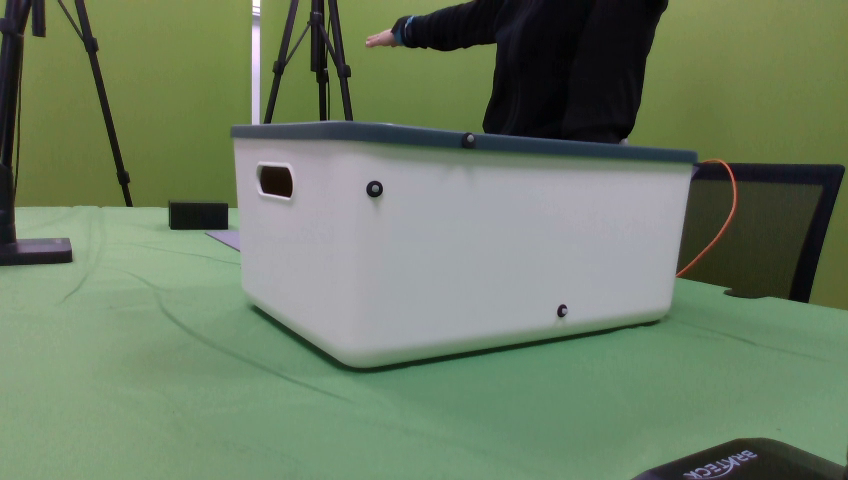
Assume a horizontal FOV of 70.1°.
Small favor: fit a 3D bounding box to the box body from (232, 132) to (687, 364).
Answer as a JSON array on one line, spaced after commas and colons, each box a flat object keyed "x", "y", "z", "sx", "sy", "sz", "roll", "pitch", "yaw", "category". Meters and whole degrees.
[{"x": 0.031, "y": -0.013, "z": 0.563, "sx": 0.366, "sy": 0.160, "sz": 0.253, "roll": -3, "pitch": 8, "yaw": -33, "category": "box body"}]

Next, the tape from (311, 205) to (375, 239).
[{"x": -0.145, "y": -0.034, "z": 1.097, "sx": 0.117, "sy": 0.052, "sz": 0.117, "roll": 3, "pitch": 8, "yaw": 0, "category": "tape"}]

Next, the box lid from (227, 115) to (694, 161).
[{"x": 0.032, "y": -0.086, "z": 0.553, "sx": 0.373, "sy": 0.015, "sz": 0.262, "roll": -2, "pitch": 8, "yaw": -33, "category": "box lid"}]
